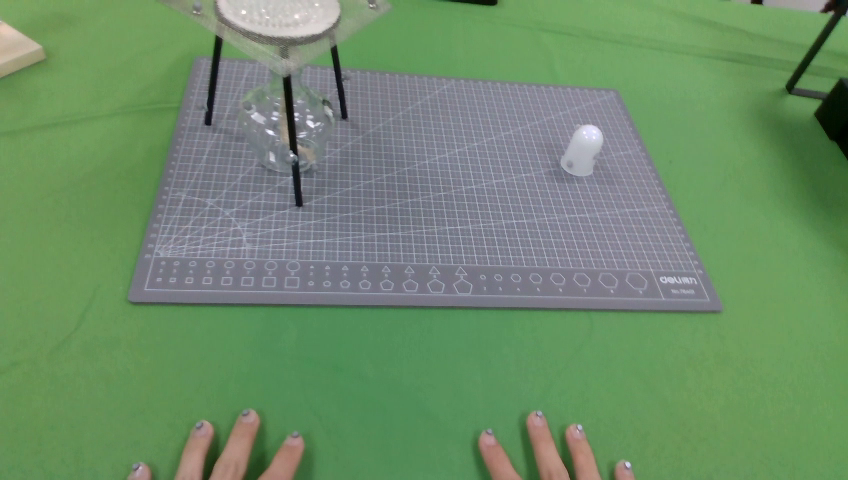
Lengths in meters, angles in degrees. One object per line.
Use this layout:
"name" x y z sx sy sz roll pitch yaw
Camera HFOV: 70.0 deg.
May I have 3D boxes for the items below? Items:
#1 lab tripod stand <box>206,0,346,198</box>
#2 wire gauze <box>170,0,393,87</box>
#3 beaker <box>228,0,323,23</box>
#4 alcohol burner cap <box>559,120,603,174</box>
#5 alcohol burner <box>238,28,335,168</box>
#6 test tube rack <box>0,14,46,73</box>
"lab tripod stand" -0.112 -0.129 0.486 0.149 0.132 0.147 7 49 -8
"wire gauze" -0.104 -0.171 0.436 0.124 0.011 0.121 34 54 12
"beaker" -0.101 -0.203 0.399 0.073 0.101 0.084 33 52 16
"alcohol burner cap" 0.149 -0.089 0.567 0.034 0.048 0.033 5 48 -5
"alcohol burner" -0.110 -0.117 0.489 0.078 0.120 0.077 7 48 -7
"test tube rack" -0.441 -0.150 0.472 0.066 0.086 0.242 32 51 16
